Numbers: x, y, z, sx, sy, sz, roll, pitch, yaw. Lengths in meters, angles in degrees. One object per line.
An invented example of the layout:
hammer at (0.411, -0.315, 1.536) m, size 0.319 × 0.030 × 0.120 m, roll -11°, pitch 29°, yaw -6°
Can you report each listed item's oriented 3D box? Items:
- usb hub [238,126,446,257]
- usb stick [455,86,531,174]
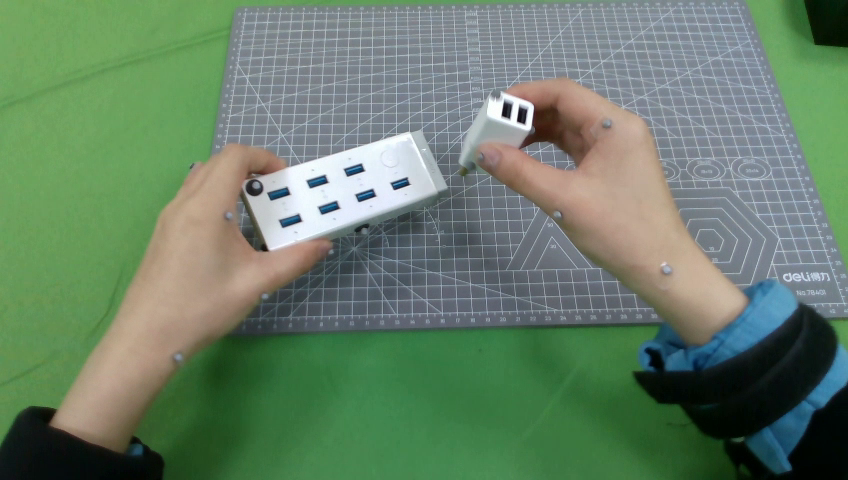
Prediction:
usb hub at (-0.051, -0.034, 0.391) m, size 0.125 × 0.025 × 0.049 m, roll -21°, pitch 82°, yaw -22°
usb stick at (0.035, -0.056, 0.336) m, size 0.027 × 0.059 × 0.021 m, roll 18°, pitch 58°, yaw -13°
